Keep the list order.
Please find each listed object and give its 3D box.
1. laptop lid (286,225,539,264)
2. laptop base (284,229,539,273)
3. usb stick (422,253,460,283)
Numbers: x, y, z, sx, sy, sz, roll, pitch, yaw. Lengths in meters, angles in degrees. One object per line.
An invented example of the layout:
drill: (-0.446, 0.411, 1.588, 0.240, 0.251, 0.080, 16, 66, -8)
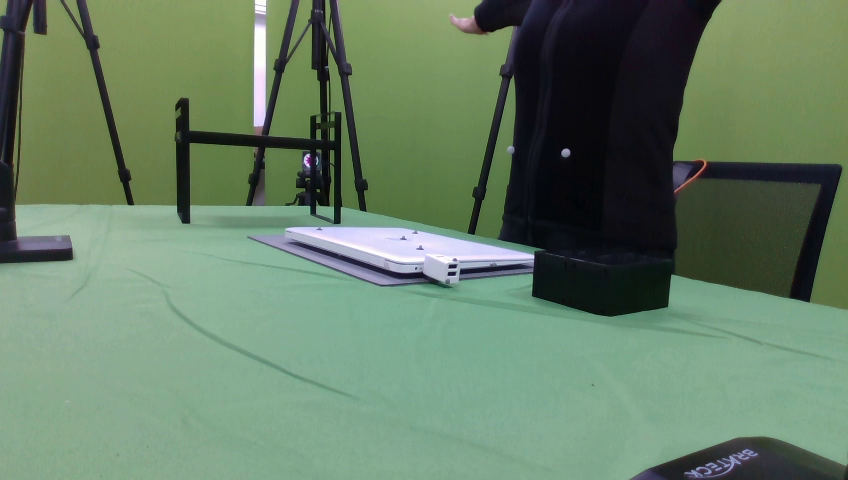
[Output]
laptop lid: (-0.032, 0.002, 0.898, 0.243, 0.013, 0.355, 0, 8, -34)
laptop base: (-0.034, 0.013, 0.898, 0.237, 0.023, 0.352, 1, 7, -36)
usb stick: (0.015, 0.031, 0.698, 0.021, 0.027, 0.059, -2, 9, -34)
